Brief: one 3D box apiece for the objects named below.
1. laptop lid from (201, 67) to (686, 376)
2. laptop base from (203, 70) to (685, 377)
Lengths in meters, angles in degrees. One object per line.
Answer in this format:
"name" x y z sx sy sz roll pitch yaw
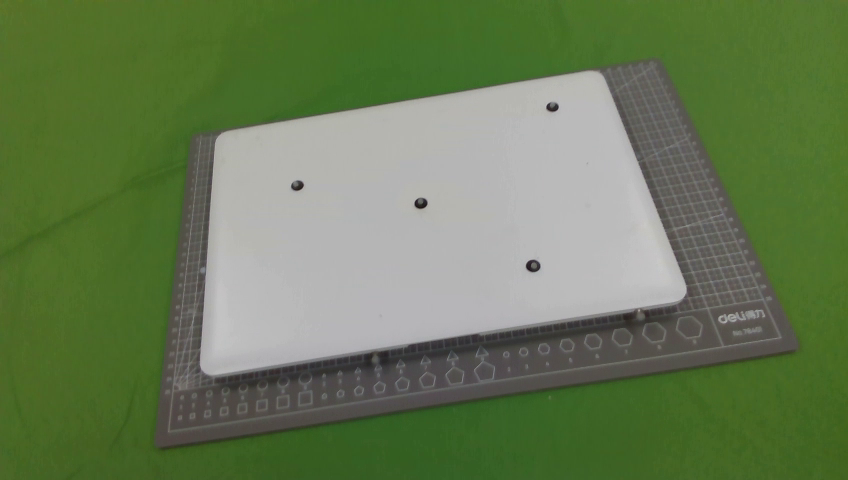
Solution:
"laptop lid" -0.001 -0.028 0.484 0.357 0.013 0.239 -8 60 2
"laptop base" 0.001 -0.024 0.495 0.354 0.023 0.233 -9 61 1
